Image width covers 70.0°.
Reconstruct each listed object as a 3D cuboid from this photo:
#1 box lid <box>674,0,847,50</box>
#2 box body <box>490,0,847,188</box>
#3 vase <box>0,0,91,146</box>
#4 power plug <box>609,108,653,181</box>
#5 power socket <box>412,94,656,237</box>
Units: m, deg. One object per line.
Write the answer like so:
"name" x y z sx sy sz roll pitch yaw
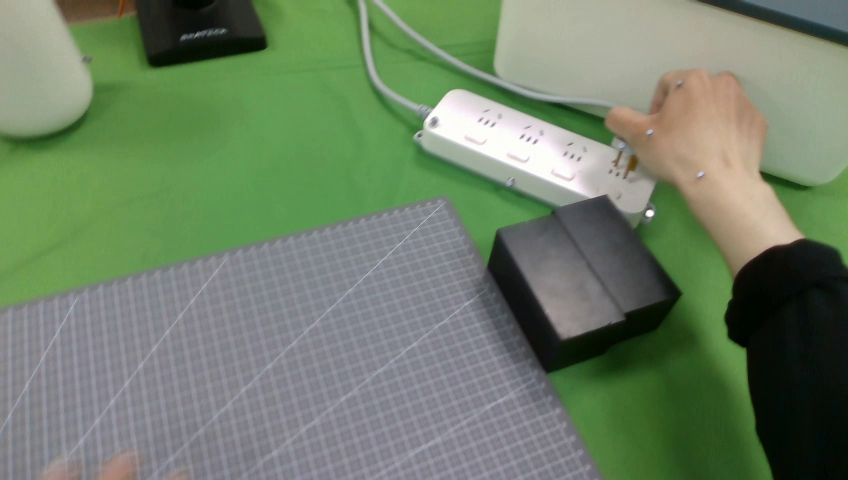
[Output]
"box lid" 0.277 -0.273 0.546 0.370 0.015 0.262 22 54 11
"box body" 0.271 -0.228 0.605 0.363 0.162 0.253 21 53 11
"vase" -0.344 -0.173 0.480 0.098 0.201 0.097 3 50 -3
"power plug" 0.181 -0.083 0.528 0.035 0.053 0.072 20 24 13
"power socket" 0.099 -0.071 0.548 0.226 0.033 0.072 24 53 14
